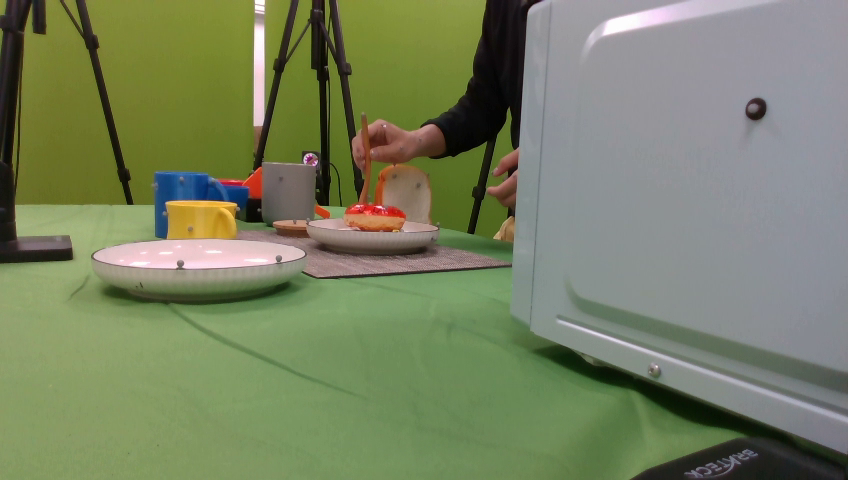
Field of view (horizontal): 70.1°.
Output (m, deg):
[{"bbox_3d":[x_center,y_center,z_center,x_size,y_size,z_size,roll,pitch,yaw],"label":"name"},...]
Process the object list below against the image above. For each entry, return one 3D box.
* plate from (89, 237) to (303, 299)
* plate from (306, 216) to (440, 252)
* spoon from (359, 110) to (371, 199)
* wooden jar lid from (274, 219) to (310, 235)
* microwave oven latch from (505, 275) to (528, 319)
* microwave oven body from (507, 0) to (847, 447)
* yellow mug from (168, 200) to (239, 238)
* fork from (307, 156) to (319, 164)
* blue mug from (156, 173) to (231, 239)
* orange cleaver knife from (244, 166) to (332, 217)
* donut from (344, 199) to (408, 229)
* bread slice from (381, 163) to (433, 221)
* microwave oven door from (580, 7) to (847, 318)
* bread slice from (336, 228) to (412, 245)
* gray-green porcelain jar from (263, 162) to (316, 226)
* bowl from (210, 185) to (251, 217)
[{"bbox_3d":[-0.233,0.029,0.637,0.208,0.039,0.207,2,7,0],"label":"plate"},{"bbox_3d":[-0.079,-0.011,0.950,0.209,0.038,0.209,2,8,0],"label":"plate"},{"bbox_3d":[-0.095,-0.114,0.987,0.021,0.193,0.041,6,17,13],"label":"spoon"},{"bbox_3d":[-0.213,-0.023,1.080,0.108,0.020,0.108,3,7,0],"label":"wooden jar lid"},{"bbox_3d":[0.100,0.041,0.471,0.079,0.029,0.030,-2,7,-29],"label":"microwave oven latch"},{"bbox_3d":[0.331,-0.042,0.425,0.444,0.260,0.324,-2,8,-31],"label":"microwave oven body"},{"bbox_3d":[-0.319,-0.023,0.904,0.130,0.064,0.100,9,11,36],"label":"yellow mug"},{"bbox_3d":[-0.331,-0.144,1.506,0.207,0.018,0.028,-42,-22,22],"label":"fork"},{"bbox_3d":[-0.381,-0.057,1.004,0.117,0.106,0.082,0,8,-12],"label":"blue mug"},{"bbox_3d":[-0.301,-0.089,1.351,0.212,0.077,0.012,32,-11,-34],"label":"orange cleaver knife"},{"bbox_3d":[-0.075,-0.040,0.947,0.099,0.048,0.099,2,7,0],"label":"donut"},{"bbox_3d":[-0.035,-0.076,1.124,0.107,0.134,0.018,-3,0,-26],"label":"bread slice"},{"bbox_3d":[0.295,-0.067,0.570,0.358,0.243,0.039,-3,8,-31],"label":"microwave oven door"},{"bbox_3d":[-0.074,-0.006,0.938,0.105,0.019,0.131,-2,5,-18],"label":"bread slice"},{"bbox_3d":[-0.271,-0.092,1.217,0.106,0.126,0.106,2,7,0],"label":"gray-green porcelain jar"},{"bbox_3d":[-0.408,-0.064,1.155,0.151,0.077,0.151,2,8,0],"label":"bowl"}]
